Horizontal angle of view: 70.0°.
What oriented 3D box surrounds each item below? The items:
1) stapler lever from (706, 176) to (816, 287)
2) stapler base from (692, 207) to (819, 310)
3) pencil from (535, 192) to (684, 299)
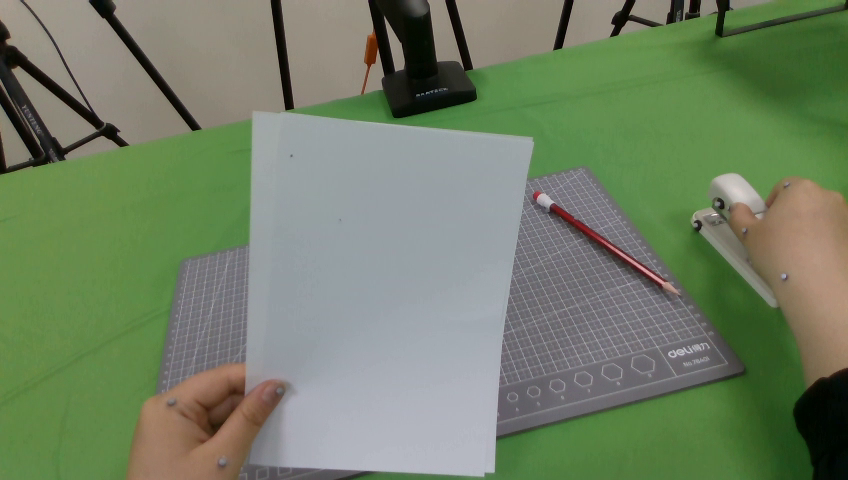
[{"bbox_3d":[0.281,-0.012,0.511,0.027,0.040,0.116,-18,40,-2],"label":"stapler lever"},{"bbox_3d":[0.284,0.005,0.528,0.041,0.025,0.129,-18,41,-2],"label":"stapler base"},{"bbox_3d":[0.166,0.001,0.566,0.012,0.012,0.192,-26,42,-18],"label":"pencil"}]
